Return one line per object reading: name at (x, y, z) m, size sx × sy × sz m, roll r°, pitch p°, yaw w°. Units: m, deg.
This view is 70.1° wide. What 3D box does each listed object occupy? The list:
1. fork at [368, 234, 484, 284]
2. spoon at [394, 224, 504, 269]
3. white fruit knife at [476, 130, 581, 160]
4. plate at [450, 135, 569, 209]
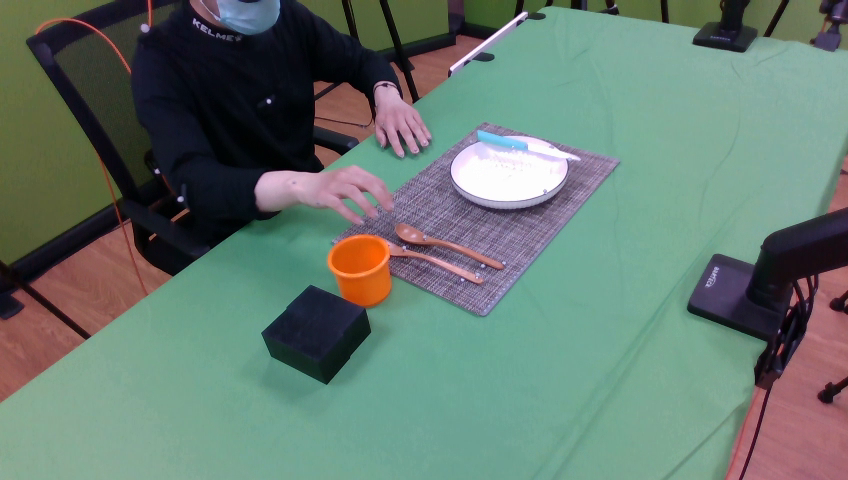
fork at (0.001, 0.030, 0.930) m, size 0.206 × 0.019 × 0.028 m, roll 18°, pitch 41°, yaw 29°
spoon at (0.037, 0.010, 0.945) m, size 0.192 × 0.022 × 0.042 m, roll 18°, pitch 29°, yaw 26°
white fruit knife at (0.184, -0.170, 1.089) m, size 0.206 × 0.016 × 0.027 m, roll 18°, pitch 43°, yaw 25°
plate at (0.149, -0.117, 1.065) m, size 0.209 × 0.038 × 0.208 m, roll -3°, pitch 41°, yaw 3°
